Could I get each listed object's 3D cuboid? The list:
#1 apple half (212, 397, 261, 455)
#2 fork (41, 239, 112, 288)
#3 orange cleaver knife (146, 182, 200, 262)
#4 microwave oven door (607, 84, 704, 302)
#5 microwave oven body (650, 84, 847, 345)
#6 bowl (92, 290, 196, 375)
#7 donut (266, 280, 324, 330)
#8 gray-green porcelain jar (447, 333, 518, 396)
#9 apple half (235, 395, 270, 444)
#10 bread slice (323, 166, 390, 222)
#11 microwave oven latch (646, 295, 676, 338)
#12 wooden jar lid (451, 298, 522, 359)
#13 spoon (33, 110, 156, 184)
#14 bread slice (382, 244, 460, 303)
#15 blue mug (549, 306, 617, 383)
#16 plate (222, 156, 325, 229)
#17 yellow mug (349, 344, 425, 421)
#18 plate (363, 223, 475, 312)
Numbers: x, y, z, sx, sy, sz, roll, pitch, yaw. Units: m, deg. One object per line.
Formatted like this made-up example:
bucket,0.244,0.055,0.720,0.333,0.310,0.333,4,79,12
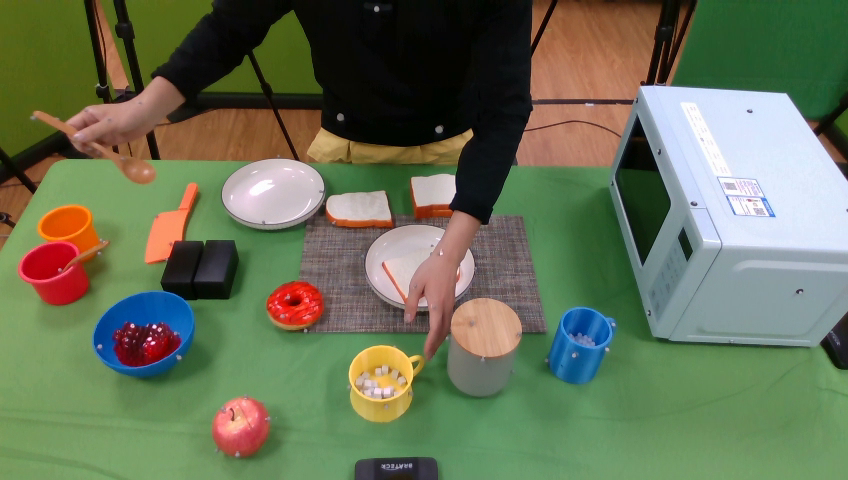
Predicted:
apple half,-0.276,0.276,0.877,0.053,0.075,0.080,-29,58,-21
fork,-0.591,0.040,1.028,0.207,0.019,0.028,-27,37,29
orange cleaver knife,-0.494,-0.039,1.199,0.077,0.012,0.210,-3,48,1
microwave oven door,0.424,-0.096,1.138,0.039,0.245,0.353,3,47,-1
microwave oven body,0.569,-0.054,1.116,0.326,0.261,0.439,2,46,-1
bowl,-0.436,0.161,0.971,0.151,0.077,0.150,2,46,-2
donut,-0.223,0.112,1.051,0.099,0.048,0.098,2,46,-2
gray-green porcelain jar,0.091,0.178,0.960,0.106,0.127,0.105,2,47,-2
apple half,-0.245,0.259,0.893,0.033,0.082,0.081,-29,55,-21
bread slice,-0.140,-0.092,1.224,0.134,0.018,0.106,-19,51,6
microwave oven latch,0.413,0.133,1.061,0.030,0.029,0.078,4,46,1
wooden jar lid,0.093,0.135,0.914,0.108,0.021,0.107,2,49,-3
spoon,-0.523,-0.151,0.969,0.021,0.195,0.041,2,61,57
bread slice,0.000,0.054,1.130,0.132,0.019,0.104,-20,52,-20
blue mug,0.269,0.167,0.997,0.116,0.106,0.082,-19,50,-21
plate,-0.307,-0.095,1.251,0.209,0.038,0.208,2,47,-2
yellow mug,-0.054,0.217,0.954,0.131,0.064,0.099,-24,52,-25
plate,-0.009,0.054,1.127,0.208,0.039,0.206,2,46,-2
